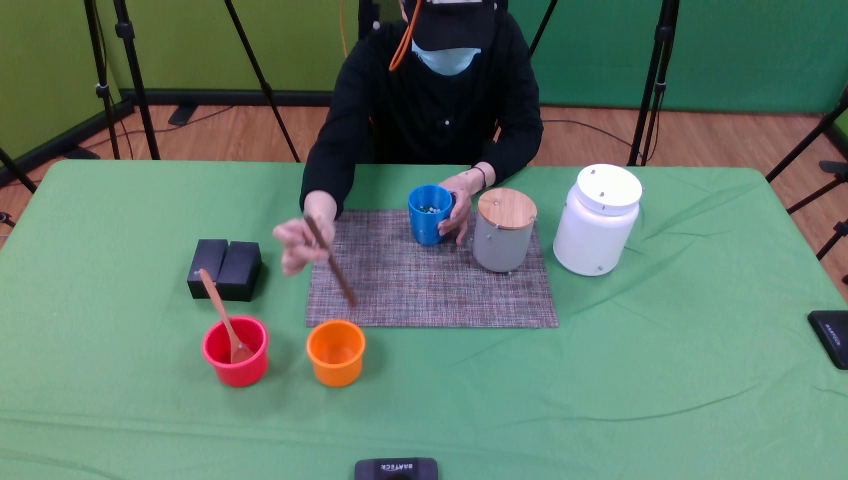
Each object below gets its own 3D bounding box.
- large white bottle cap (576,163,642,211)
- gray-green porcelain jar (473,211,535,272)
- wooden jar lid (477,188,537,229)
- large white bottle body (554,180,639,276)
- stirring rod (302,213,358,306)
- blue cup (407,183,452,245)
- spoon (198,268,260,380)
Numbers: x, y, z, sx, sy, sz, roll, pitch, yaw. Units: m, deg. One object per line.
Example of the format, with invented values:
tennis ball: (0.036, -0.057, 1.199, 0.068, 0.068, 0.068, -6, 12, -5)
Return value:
large white bottle cap: (0.330, -0.096, 1.080, 0.115, 0.018, 0.114, 2, 46, -2)
gray-green porcelain jar: (0.148, -0.010, 1.139, 0.106, 0.127, 0.105, 2, 46, -2)
wooden jar lid: (0.149, -0.054, 1.094, 0.108, 0.021, 0.107, 4, 45, -4)
large white bottle body: (0.326, -0.037, 1.141, 0.131, 0.185, 0.130, 2, 46, -2)
stirring rod: (-0.139, 0.033, 0.908, 0.014, 0.177, 0.006, -8, 34, 24)
blue cup: (0.010, -0.045, 1.180, 0.092, 0.101, 0.092, 1, 47, -1)
spoon: (-0.312, 0.132, 0.962, 0.041, 0.021, 0.194, -24, 96, -21)
